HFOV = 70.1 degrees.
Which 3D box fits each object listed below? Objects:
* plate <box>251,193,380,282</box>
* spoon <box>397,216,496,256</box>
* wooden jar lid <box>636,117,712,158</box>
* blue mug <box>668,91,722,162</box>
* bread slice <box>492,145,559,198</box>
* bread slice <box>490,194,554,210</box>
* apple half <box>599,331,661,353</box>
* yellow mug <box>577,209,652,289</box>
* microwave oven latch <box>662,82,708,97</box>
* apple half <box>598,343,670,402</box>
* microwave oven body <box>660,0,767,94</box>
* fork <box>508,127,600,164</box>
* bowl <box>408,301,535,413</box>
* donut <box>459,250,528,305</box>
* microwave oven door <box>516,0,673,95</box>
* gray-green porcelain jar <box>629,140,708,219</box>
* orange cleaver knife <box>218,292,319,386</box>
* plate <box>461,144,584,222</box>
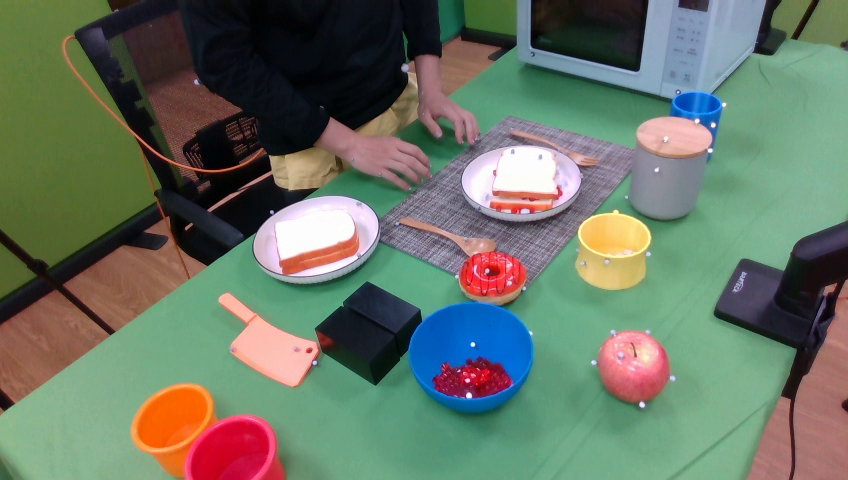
[{"bbox_3d":[-0.174,-0.001,0.984,0.209,0.038,0.208,-4,40,4],"label":"plate"},{"bbox_3d":[0.033,-0.011,0.972,0.192,0.022,0.041,23,71,29],"label":"spoon"},{"bbox_3d":[0.377,-0.151,0.917,0.108,0.021,0.108,-2,41,3],"label":"wooden jar lid"},{"bbox_3d":[0.474,-0.207,1.078,0.082,0.106,0.116,4,42,13],"label":"blue mug"},{"bbox_3d":[0.172,-0.118,1.027,0.107,0.018,0.134,3,43,7],"label":"bread slice"},{"bbox_3d":[0.173,-0.099,1.047,0.104,0.019,0.131,2,43,12],"label":"bread slice"},{"bbox_3d":[0.249,0.134,0.738,0.081,0.081,0.032,-1,46,7],"label":"apple half"},{"bbox_3d":[0.279,0.004,0.893,0.099,0.064,0.130,5,41,15],"label":"yellow mug"},{"bbox_3d":[0.517,-0.298,1.202,0.078,0.029,0.030,27,52,34],"label":"microwave oven latch"},{"bbox_3d":[0.247,0.161,0.710,0.081,0.075,0.053,2,47,5],"label":"apple half"},{"bbox_3d":[0.473,-0.516,1.313,0.438,0.261,0.327,26,51,34],"label":"microwave oven body"},{"bbox_3d":[0.240,-0.180,1.141,0.205,0.019,0.028,32,62,34],"label":"fork"},{"bbox_3d":[0.060,0.156,0.739,0.151,0.077,0.150,-4,40,4],"label":"bowl"},{"bbox_3d":[0.100,0.053,0.872,0.099,0.048,0.098,-4,40,4],"label":"donut"},{"bbox_3d":[0.344,-0.458,1.256,0.353,0.245,0.039,26,51,33],"label":"microwave oven door"},{"bbox_3d":[0.383,-0.105,0.958,0.106,0.127,0.105,-4,41,4],"label":"gray-green porcelain jar"},{"bbox_3d":[-0.235,0.136,0.850,0.209,0.012,0.077,25,57,30],"label":"orange cleaver knife"},{"bbox_3d":[0.168,-0.095,1.040,0.207,0.039,0.206,-4,40,4],"label":"plate"}]
